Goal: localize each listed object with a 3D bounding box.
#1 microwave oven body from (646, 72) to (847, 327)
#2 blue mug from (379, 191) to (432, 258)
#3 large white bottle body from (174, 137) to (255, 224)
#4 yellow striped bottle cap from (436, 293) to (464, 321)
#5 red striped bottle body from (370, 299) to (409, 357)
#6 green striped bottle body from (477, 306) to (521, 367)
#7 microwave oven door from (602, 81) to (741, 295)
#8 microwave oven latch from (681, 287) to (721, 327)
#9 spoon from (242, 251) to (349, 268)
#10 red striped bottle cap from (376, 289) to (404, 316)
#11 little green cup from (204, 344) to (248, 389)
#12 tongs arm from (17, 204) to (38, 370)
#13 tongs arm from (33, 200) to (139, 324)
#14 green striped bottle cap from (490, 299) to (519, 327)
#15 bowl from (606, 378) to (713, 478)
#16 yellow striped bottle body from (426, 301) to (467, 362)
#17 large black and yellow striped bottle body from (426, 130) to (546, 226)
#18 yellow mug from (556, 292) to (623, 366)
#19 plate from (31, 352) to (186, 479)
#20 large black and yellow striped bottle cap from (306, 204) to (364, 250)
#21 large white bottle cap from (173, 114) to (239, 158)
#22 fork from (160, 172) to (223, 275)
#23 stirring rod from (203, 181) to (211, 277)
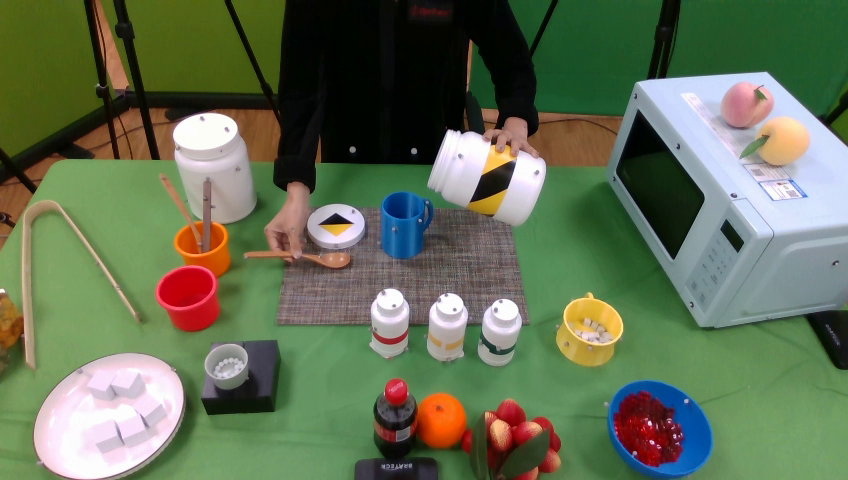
[{"bbox_3d":[0.607,-0.089,1.164,0.326,0.261,0.438,-7,46,-10],"label":"microwave oven body"},{"bbox_3d":[-0.031,-0.036,1.167,0.116,0.106,0.082,-27,54,-27],"label":"blue mug"},{"bbox_3d":[-0.409,-0.136,1.183,0.131,0.185,0.130,2,46,-2],"label":"large white bottle body"},{"bbox_3d":[0.041,0.106,0.959,0.044,0.019,0.044,0,49,1],"label":"yellow striped bottle cap"},{"bbox_3d":[-0.057,0.135,0.997,0.063,0.120,0.062,2,47,-2],"label":"red striped bottle body"},{"bbox_3d":[0.124,0.151,0.995,0.063,0.120,0.063,2,46,-2],"label":"green striped bottle body"},{"bbox_3d":[0.456,-0.107,1.162,0.039,0.245,0.353,-7,47,-10],"label":"microwave oven door"},{"bbox_3d":[0.494,0.119,1.087,0.030,0.029,0.078,-6,46,-9],"label":"microwave oven latch"},{"bbox_3d":[-0.234,0.031,1.115,0.194,0.022,0.041,7,40,-25],"label":"spoon"},{"bbox_3d":[-0.054,0.098,0.958,0.044,0.018,0.044,0,48,0],"label":"red striped bottle cap"},{"bbox_3d":[-0.294,0.191,0.909,0.061,0.039,0.061,1,48,-1],"label":"little green cup"},{"bbox_3d":[-0.698,0.070,1.068,0.028,0.028,0.385,-20,50,-13],"label":"tongs arm"},{"bbox_3d":[-0.622,0.034,1.105,0.051,0.026,0.382,-32,56,-26],"label":"tongs arm"},{"bbox_3d":[0.127,0.115,0.958,0.044,0.020,0.044,2,47,-2],"label":"green striped bottle cap"},{"bbox_3d":[0.340,0.292,0.906,0.151,0.077,0.150,2,46,-2],"label":"bowl"},{"bbox_3d":[0.037,0.142,0.996,0.063,0.121,0.062,2,46,-2],"label":"yellow striped bottle body"},{"bbox_3d":[0.106,-0.113,1.072,0.184,0.131,0.130,20,46,-4],"label":"large black and yellow striped bottle body"},{"bbox_3d":[0.285,0.145,1.051,0.100,0.064,0.130,7,45,3],"label":"yellow mug"},{"bbox_3d":[-0.459,0.262,0.898,0.209,0.038,0.208,2,46,-2],"label":"plate"},{"bbox_3d":[-0.178,-0.028,1.210,0.115,0.019,0.114,2,47,-2],"label":"large black and yellow striped bottle cap"},{"bbox_3d":[-0.403,-0.195,1.122,0.115,0.018,0.114,2,47,-2],"label":"large white bottle cap"},{"bbox_3d":[-0.426,-0.030,1.103,0.028,0.018,0.207,-29,98,-19],"label":"fork"},{"bbox_3d":[-0.396,-0.021,1.107,0.014,0.006,0.176,-1,89,-1],"label":"stirring rod"}]
